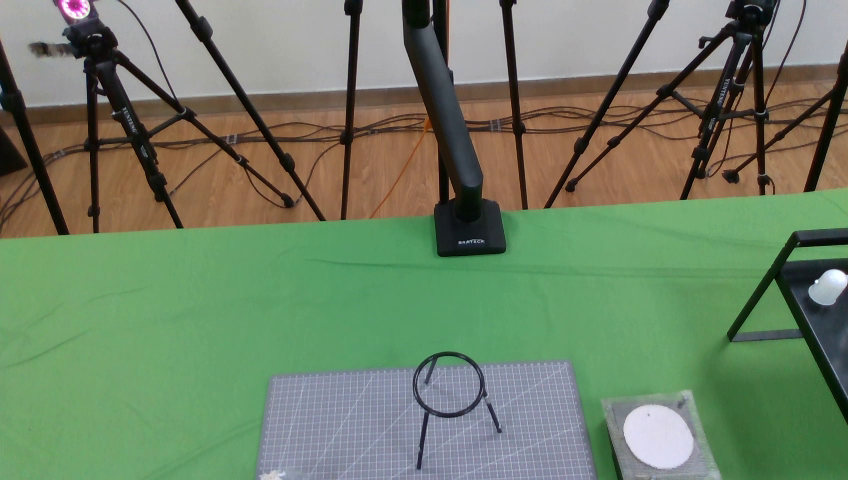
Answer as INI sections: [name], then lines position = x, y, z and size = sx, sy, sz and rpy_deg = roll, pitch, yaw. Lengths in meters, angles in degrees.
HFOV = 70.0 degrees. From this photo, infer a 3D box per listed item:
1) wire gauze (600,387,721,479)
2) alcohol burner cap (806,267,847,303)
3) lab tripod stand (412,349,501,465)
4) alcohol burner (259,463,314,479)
[wire gauze]
position = 0.302, 0.250, 0.779
size = 0.125, 0.011, 0.120
rpy_deg = -3, 52, -1
[alcohol burner cap]
position = 0.499, 0.053, 0.745
size = 0.034, 0.048, 0.033
rpy_deg = -1, 53, 2
[lab tripod stand]
position = 0.029, 0.211, 0.796
size = 0.148, 0.133, 0.147
rpy_deg = -2, 50, 3
[alcohol burner]
position = -0.173, 0.305, 0.736
size = 0.078, 0.120, 0.077
rpy_deg = 0, 52, 1
